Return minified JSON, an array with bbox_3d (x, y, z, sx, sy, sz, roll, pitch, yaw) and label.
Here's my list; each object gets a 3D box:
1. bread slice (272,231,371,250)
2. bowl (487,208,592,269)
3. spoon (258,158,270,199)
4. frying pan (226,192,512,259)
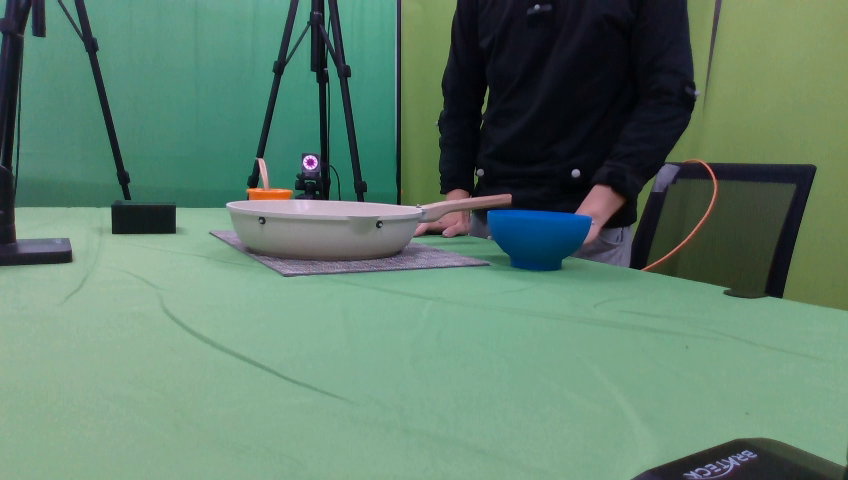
[{"bbox_3d":[-0.148,0.000,0.929,0.133,0.018,0.107,6,8,38],"label":"bread slice"},{"bbox_3d":[0.163,-0.003,0.875,0.151,0.077,0.151,2,7,0],"label":"bowl"},{"bbox_3d":[-0.332,-0.107,1.269,0.042,0.021,0.193,0,53,-23],"label":"spoon"},{"bbox_3d":[-0.058,-0.041,0.975,0.490,0.102,0.305,-11,13,-26],"label":"frying pan"}]
